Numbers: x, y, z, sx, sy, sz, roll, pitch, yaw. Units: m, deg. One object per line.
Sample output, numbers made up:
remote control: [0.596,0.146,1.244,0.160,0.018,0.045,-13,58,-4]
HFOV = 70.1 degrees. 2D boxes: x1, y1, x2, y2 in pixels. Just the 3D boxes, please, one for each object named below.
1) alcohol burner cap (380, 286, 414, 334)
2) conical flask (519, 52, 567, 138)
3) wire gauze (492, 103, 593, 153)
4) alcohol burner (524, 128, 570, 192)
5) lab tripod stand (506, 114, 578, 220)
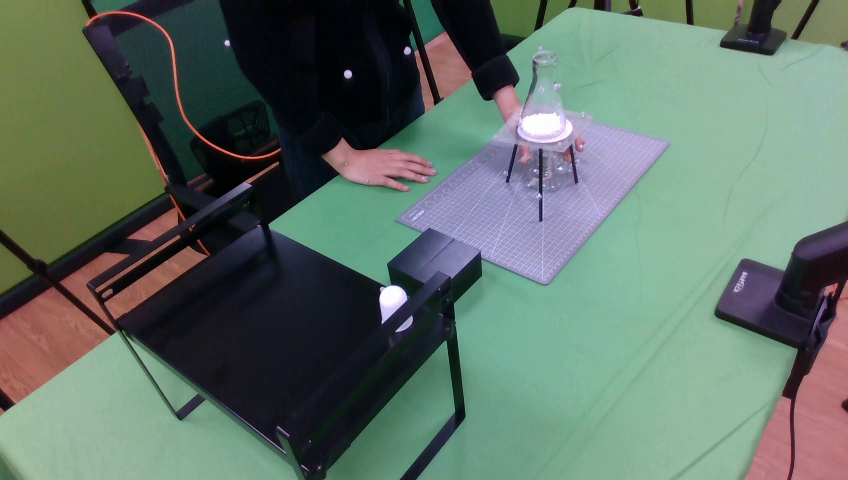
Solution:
alcohol burner cap: [-0.029,0.068,0.605,0.034,0.048,0.033,-5,39,4]
conical flask: [0.183,-0.223,0.926,0.075,0.122,0.075,-4,41,4]
wire gauze: [0.191,-0.179,0.965,0.120,0.011,0.125,17,49,29]
alcohol burner: [0.211,-0.142,1.036,0.078,0.119,0.077,-4,43,5]
lab tripod stand: [0.198,-0.127,1.005,0.148,0.132,0.147,-3,42,3]
